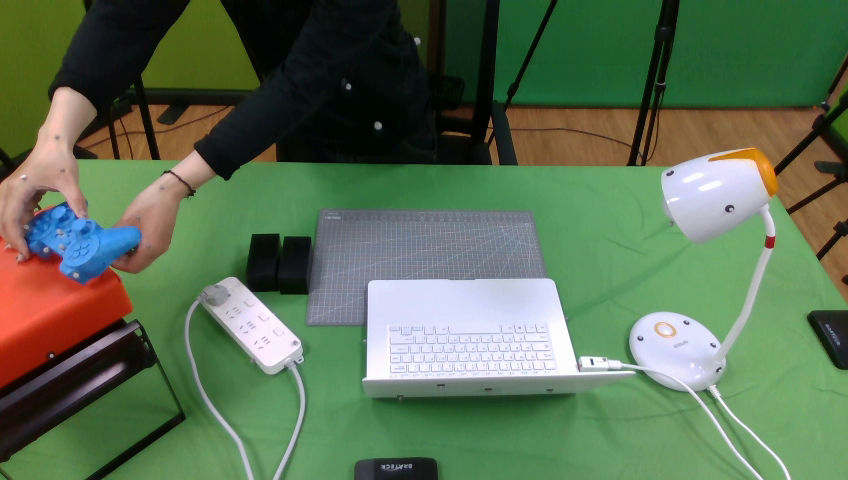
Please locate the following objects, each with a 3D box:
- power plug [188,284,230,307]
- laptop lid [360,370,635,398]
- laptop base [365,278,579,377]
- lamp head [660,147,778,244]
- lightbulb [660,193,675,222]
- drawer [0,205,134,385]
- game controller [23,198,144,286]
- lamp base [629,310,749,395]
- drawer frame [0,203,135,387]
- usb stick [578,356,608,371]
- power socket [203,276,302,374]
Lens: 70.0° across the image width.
[{"bbox_3d":[-0.369,0.100,1.036,0.072,0.053,0.035,-26,55,-25],"label":"power plug"},{"bbox_3d":[0.090,0.208,0.863,0.357,0.242,0.013,0,71,-6],"label":"laptop lid"},{"bbox_3d":[0.076,0.161,1.053,0.355,0.023,0.234,0,44,-4],"label":"laptop base"},{"bbox_3d":[0.389,-0.063,0.784,0.123,0.113,0.112,-22,33,37],"label":"lamp head"},{"bbox_3d":[0.366,-0.060,0.806,0.060,0.107,0.059,17,61,-32],"label":"lightbulb"},{"bbox_3d":[-0.534,0.071,0.801,0.193,0.073,0.211,37,55,26],"label":"drawer"},{"bbox_3d":[-0.444,-0.006,0.775,0.154,0.052,0.097,23,66,29],"label":"game controller"},{"bbox_3d":[0.447,0.142,0.984,0.161,0.181,0.178,-24,55,-24],"label":"lamp base"},{"bbox_3d":[-0.536,0.073,0.798,0.200,0.083,0.213,36,55,26],"label":"drawer frame"},{"bbox_3d":[0.273,0.207,1.007,0.059,0.027,0.021,0,52,0],"label":"usb stick"},{"bbox_3d":[-0.296,0.141,1.033,0.072,0.033,0.225,-34,58,-31],"label":"power socket"}]
